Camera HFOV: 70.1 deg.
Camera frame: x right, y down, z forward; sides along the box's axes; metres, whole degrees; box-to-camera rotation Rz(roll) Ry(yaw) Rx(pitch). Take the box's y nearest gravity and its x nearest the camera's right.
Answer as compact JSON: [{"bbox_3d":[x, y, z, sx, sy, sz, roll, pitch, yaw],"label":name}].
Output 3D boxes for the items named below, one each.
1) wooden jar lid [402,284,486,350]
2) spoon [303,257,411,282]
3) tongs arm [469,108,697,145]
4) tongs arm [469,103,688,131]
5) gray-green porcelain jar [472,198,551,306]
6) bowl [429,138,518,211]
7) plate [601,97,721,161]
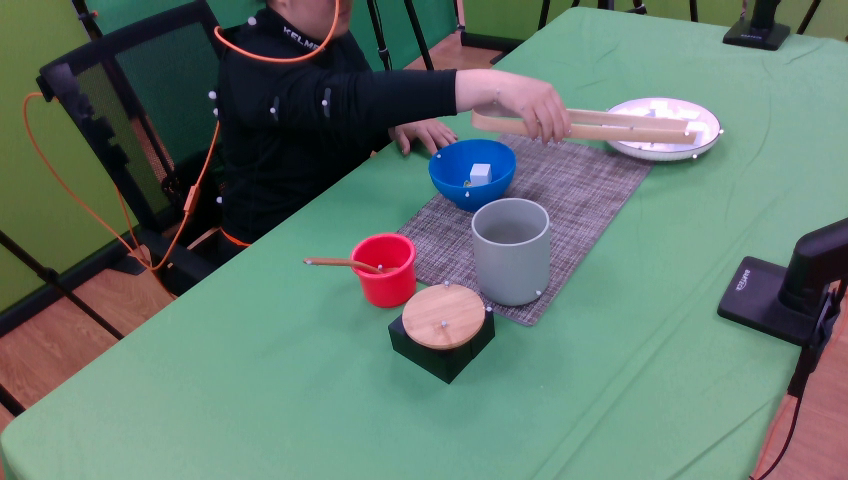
[{"bbox_3d":[0.027,0.101,0.786,0.108,0.021,0.108,-5,39,4],"label":"wooden jar lid"},{"bbox_3d":[-0.092,0.038,0.865,0.195,0.021,0.041,16,16,-46],"label":"spoon"},{"bbox_3d":[0.271,-0.193,1.032,0.386,0.026,0.050,2,40,-6],"label":"tongs arm"},{"bbox_3d":[0.271,-0.212,1.055,0.388,0.028,0.028,3,44,-4],"label":"tongs arm"},{"bbox_3d":[0.125,0.021,0.850,0.106,0.127,0.105,-6,40,5],"label":"gray-green porcelain jar"},{"bbox_3d":[0.087,-0.104,1.043,0.151,0.077,0.150,-5,40,5],"label":"bowl"},{"bbox_3d":[0.437,-0.203,1.126,0.209,0.038,0.208,-5,39,4],"label":"plate"}]
